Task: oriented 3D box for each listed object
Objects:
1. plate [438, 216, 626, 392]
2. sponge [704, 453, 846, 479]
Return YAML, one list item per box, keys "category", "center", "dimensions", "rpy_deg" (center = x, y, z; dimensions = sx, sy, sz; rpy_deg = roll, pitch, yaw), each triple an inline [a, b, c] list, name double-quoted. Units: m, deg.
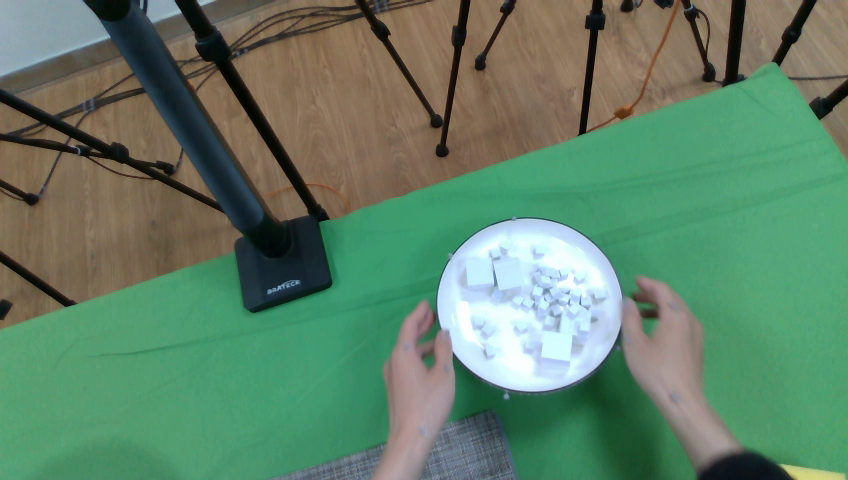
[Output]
- category: "plate"
  center: [0.121, 0.072, 0.691]
  dimensions: [0.207, 0.039, 0.206]
  rpy_deg: [-3, 66, 7]
- category: "sponge"
  center: [0.338, 0.323, 0.583]
  dimensions: [0.118, 0.061, 0.205]
  rpy_deg: [4, 68, 12]
